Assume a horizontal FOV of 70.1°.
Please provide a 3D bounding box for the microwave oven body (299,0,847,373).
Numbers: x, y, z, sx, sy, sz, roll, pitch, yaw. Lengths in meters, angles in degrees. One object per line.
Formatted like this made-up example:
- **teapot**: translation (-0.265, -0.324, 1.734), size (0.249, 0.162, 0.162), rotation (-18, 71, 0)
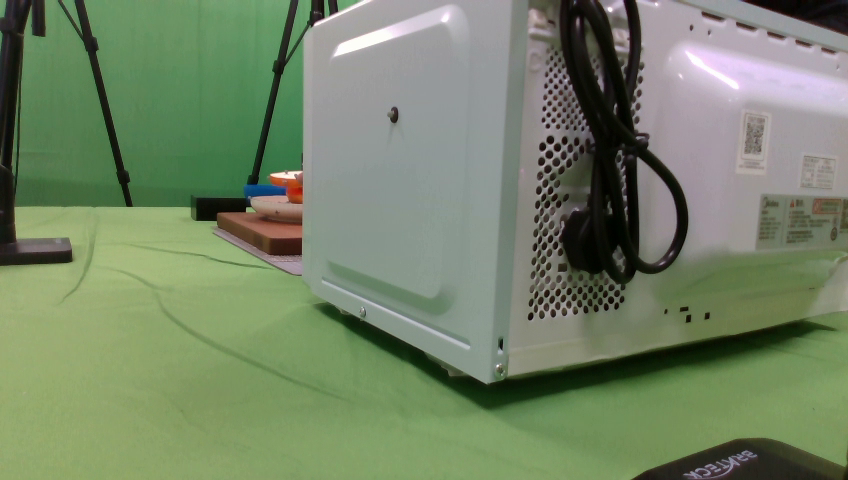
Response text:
- **microwave oven body**: translation (0.152, -0.055, 0.542), size (0.444, 0.260, 0.324), rotation (-2, 7, -33)

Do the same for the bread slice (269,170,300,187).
- **bread slice**: translation (-0.213, -0.115, 1.112), size (0.106, 0.018, 0.135), rotation (9, 16, 38)

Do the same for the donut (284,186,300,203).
- **donut**: translation (-0.210, -0.088, 1.124), size (0.099, 0.048, 0.099), rotation (4, -1, 0)

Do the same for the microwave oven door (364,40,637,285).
- **microwave oven door**: translation (0.105, -0.081, 0.694), size (0.358, 0.243, 0.039), rotation (-2, 9, -30)

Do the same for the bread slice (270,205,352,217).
- **bread slice**: translation (-0.213, -0.054, 1.116), size (0.104, 0.019, 0.132), rotation (6, 6, 41)

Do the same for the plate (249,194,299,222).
- **plate**: translation (-0.217, -0.058, 1.122), size (0.208, 0.039, 0.207), rotation (3, 7, 0)

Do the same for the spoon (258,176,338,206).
- **spoon**: translation (-0.279, -0.112, 1.356), size (0.194, 0.021, 0.041), rotation (-27, 18, -27)

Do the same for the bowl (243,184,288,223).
- **bowl**: translation (-0.321, -0.081, 1.333), size (0.151, 0.077, 0.151), rotation (3, 8, 0)

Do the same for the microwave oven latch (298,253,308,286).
- **microwave oven latch**: translation (-0.081, 0.027, 0.583), size (0.079, 0.029, 0.030), rotation (-2, 7, -33)
